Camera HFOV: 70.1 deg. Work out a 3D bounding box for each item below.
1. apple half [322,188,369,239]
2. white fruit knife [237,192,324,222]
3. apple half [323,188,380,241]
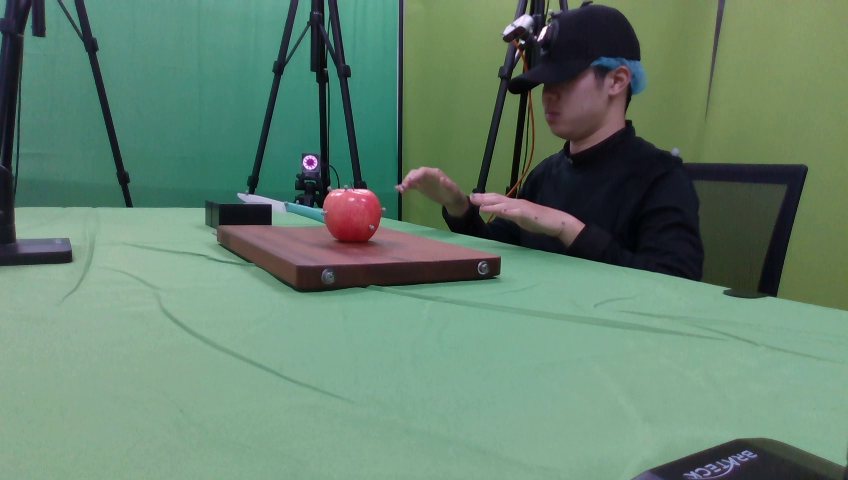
[{"bbox_3d":[-0.119,-0.040,0.868,0.082,0.081,0.032,-4,14,-41],"label":"apple half"},{"bbox_3d":[-0.286,-0.070,1.251,0.208,0.027,0.016,14,-1,-34],"label":"white fruit knife"},{"bbox_3d":[-0.094,-0.034,0.839,0.081,0.074,0.053,1,11,-41],"label":"apple half"}]
